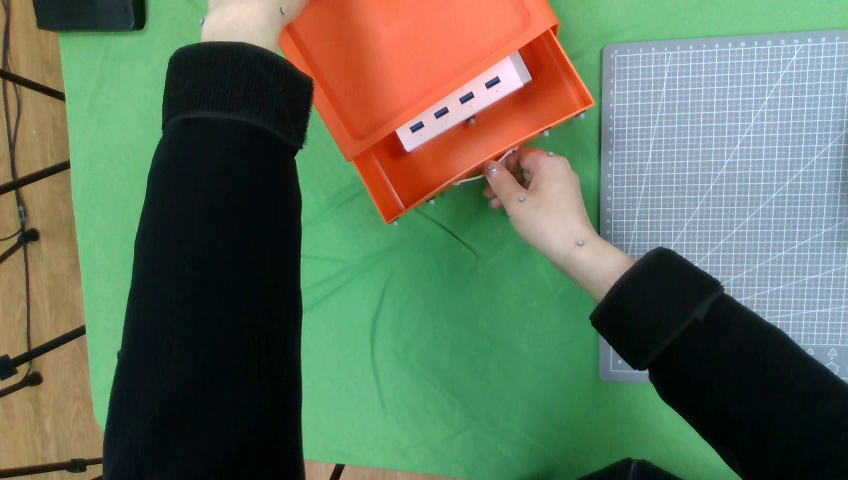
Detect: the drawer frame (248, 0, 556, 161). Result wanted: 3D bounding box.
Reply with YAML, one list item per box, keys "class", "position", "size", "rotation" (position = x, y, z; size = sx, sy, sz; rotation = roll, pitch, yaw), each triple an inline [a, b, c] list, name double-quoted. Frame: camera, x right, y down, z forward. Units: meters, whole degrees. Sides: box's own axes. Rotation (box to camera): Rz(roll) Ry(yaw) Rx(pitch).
- class: "drawer frame"
  position: [-0.031, -0.206, 0.501]
  size: [0.201, 0.082, 0.213]
  rotation: [-31, 93, 15]

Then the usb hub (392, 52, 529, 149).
- class: "usb hub"
  position: [0.024, -0.131, 0.526]
  size: [0.125, 0.025, 0.049]
  rotation: [-28, 95, 15]

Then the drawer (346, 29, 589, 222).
- class: "drawer"
  position: [0.001, -0.153, 0.509]
  size: [0.194, 0.073, 0.212]
  rotation: [-29, 92, 15]
